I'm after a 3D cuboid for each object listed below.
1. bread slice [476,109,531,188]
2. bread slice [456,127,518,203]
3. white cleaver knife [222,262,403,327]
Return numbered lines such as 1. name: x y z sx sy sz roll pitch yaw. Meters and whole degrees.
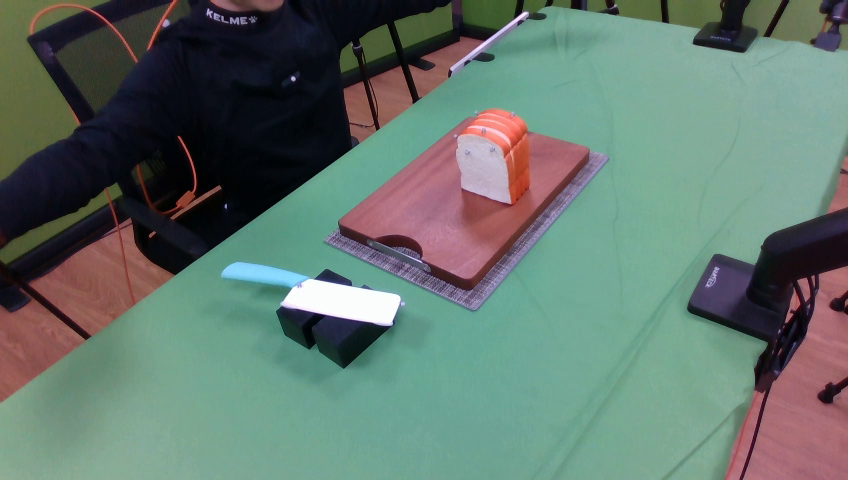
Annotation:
1. bread slice: 0.130 -0.152 0.999 0.106 0.135 0.018 23 49 28
2. bread slice: 0.097 -0.121 0.969 0.104 0.132 0.019 20 54 30
3. white cleaver knife: -0.165 0.072 0.844 0.285 0.021 0.066 9 42 20
